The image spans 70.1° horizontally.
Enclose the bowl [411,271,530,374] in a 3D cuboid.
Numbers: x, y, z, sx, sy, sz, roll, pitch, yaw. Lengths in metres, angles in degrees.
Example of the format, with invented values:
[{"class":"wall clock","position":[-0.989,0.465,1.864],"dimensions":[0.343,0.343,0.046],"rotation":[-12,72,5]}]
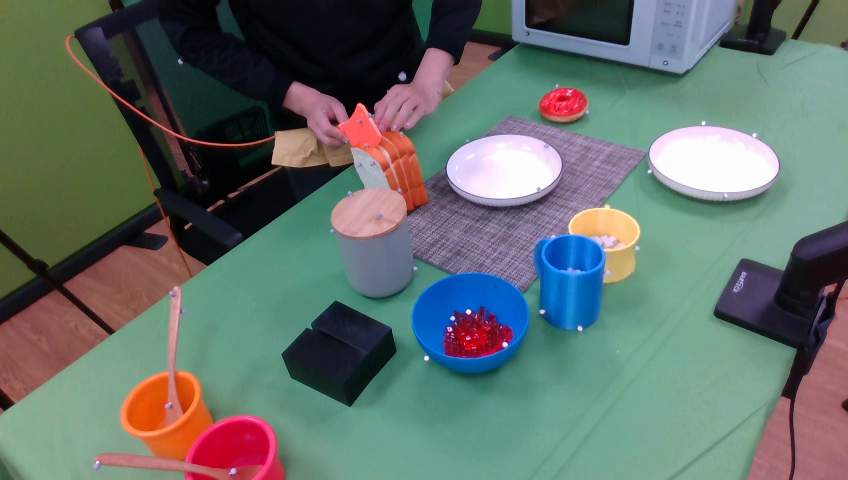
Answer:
[{"class":"bowl","position":[0.061,0.120,0.780],"dimensions":[0.151,0.077,0.150],"rotation":[-4,40,4]}]

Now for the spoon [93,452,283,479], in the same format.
[{"class":"spoon","position":[-0.240,0.239,0.632],"dimensions":[0.195,0.021,0.041],"rotation":[26,33,-32]}]

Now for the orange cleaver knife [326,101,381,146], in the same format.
[{"class":"orange cleaver knife","position":[-0.122,-0.184,1.030],"dimensions":[0.012,0.077,0.210],"rotation":[-32,13,-22]}]

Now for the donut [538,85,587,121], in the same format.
[{"class":"donut","position":[0.283,-0.280,1.239],"dimensions":[0.099,0.048,0.098],"rotation":[-5,43,5]}]

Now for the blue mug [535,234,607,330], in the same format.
[{"class":"blue mug","position":[0.191,0.048,0.824],"dimensions":[0.082,0.106,0.115],"rotation":[-26,44,-20]}]

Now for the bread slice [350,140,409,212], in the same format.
[{"class":"bread slice","position":[-0.081,-0.111,1.026],"dimensions":[0.019,0.132,0.104],"rotation":[-41,46,-20]}]

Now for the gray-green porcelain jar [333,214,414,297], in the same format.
[{"class":"gray-green porcelain jar","position":[-0.071,0.012,0.887],"dimensions":[0.106,0.127,0.105],"rotation":[-4,41,4]}]

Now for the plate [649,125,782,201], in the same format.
[{"class":"plate","position":[0.493,-0.127,1.036],"dimensions":[0.207,0.039,0.206],"rotation":[-4,41,4]}]

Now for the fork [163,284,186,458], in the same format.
[{"class":"fork","position":[-0.302,0.157,0.733],"dimensions":[0.028,0.019,0.207],"rotation":[-3,84,15]}]

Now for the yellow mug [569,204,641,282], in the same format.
[{"class":"yellow mug","position":[0.268,-0.005,0.904],"dimensions":[0.099,0.064,0.130],"rotation":[7,41,15]}]

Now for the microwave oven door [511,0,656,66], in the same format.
[{"class":"microwave oven door","position":[0.351,-0.539,1.349],"dimensions":[0.353,0.245,0.039],"rotation":[24,50,31]}]

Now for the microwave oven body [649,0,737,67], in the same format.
[{"class":"microwave oven body","position":[0.475,-0.602,1.411],"dimensions":[0.438,0.261,0.327],"rotation":[23,50,32]}]

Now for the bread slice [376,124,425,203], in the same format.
[{"class":"bread slice","position":[-0.043,-0.134,1.047],"dimensions":[0.018,0.135,0.106],"rotation":[-35,50,-27]}]

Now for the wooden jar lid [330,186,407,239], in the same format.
[{"class":"wooden jar lid","position":[-0.077,-0.035,0.846],"dimensions":[0.108,0.021,0.108],"rotation":[-6,42,5]}]

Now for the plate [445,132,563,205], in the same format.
[{"class":"plate","position":[0.142,-0.124,1.076],"dimensions":[0.209,0.038,0.208],"rotation":[-4,41,4]}]

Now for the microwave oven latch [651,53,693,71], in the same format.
[{"class":"microwave oven latch","position":[0.532,-0.386,1.301],"dimensions":[0.078,0.029,0.030],"rotation":[27,52,34]}]
